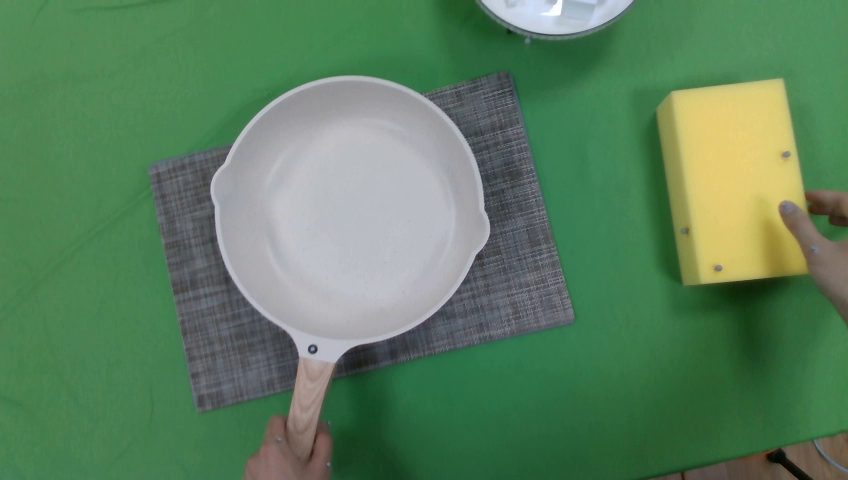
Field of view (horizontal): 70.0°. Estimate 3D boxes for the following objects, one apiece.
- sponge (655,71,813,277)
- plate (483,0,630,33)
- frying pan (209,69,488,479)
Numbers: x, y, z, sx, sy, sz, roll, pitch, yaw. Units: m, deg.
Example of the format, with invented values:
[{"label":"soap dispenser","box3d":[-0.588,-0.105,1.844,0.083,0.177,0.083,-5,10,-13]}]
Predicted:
[{"label":"sponge","box3d":[0.329,-0.067,0.654,0.118,0.061,0.206,-7,86,4]},{"label":"plate","box3d":[0.142,-0.319,0.651,0.207,0.039,0.207,0,85,3]},{"label":"frying pan","box3d":[-0.103,0.061,0.653,0.306,0.103,0.486,11,78,6]}]
